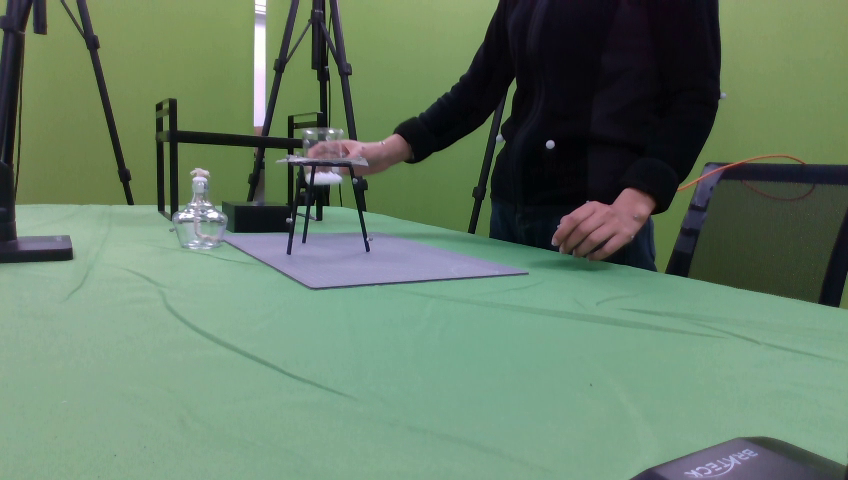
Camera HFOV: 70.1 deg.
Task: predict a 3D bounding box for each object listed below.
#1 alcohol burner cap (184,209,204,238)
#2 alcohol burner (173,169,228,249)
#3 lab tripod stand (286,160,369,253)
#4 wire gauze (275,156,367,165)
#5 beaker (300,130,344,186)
[{"bbox_3d":[-0.389,-0.029,1.025,0.034,0.048,0.034,2,8,0],"label":"alcohol burner cap"},{"bbox_3d":[-0.333,-0.047,0.903,0.078,0.119,0.078,1,6,0],"label":"alcohol burner"},{"bbox_3d":[-0.157,-0.053,0.901,0.148,0.131,0.148,0,7,0],"label":"lab tripod stand"},{"bbox_3d":[-0.148,-0.119,0.895,0.121,0.011,0.125,1,7,-3],"label":"wire gauze"},{"bbox_3d":[-0.183,-0.152,1.118,0.084,0.100,0.074,0,8,20],"label":"beaker"}]
